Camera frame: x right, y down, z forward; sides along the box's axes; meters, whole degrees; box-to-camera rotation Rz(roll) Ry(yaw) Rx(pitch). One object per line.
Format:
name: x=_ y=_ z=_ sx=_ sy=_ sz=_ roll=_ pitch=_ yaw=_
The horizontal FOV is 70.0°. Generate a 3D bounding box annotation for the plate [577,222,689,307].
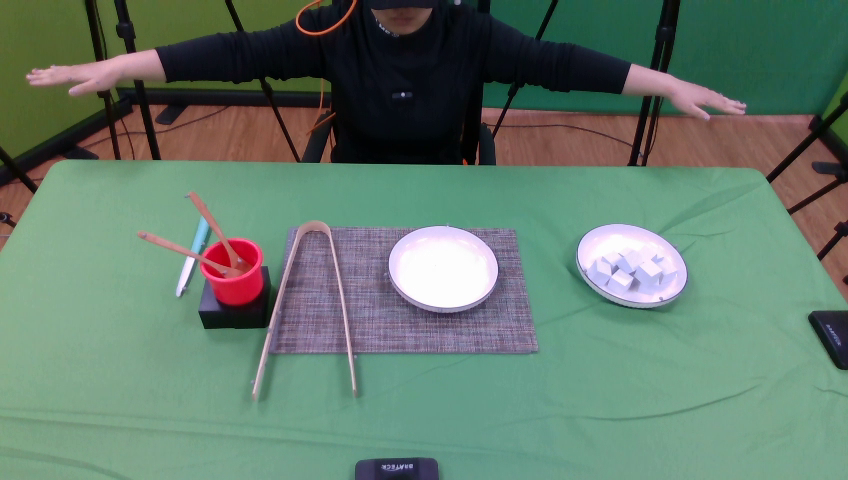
plate: x=0.396 y=0.050 z=1.165 sx=0.209 sy=0.038 sz=0.208 roll=2 pitch=47 yaw=-2

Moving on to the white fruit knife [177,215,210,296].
white fruit knife: x=-0.435 y=0.025 z=1.148 sx=0.027 sy=0.016 sz=0.206 roll=-18 pitch=45 yaw=19

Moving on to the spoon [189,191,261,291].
spoon: x=-0.333 y=0.001 z=1.011 sx=0.041 sy=0.194 sz=0.021 roll=-34 pitch=15 yaw=-25

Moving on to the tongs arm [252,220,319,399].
tongs arm: x=-0.236 y=0.105 z=1.067 sx=0.051 sy=0.026 sz=0.382 roll=1 pitch=46 yaw=0

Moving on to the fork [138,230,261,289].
fork: x=-0.360 y=0.032 z=0.981 sx=0.208 sy=0.018 sz=0.028 roll=31 pitch=60 yaw=-30

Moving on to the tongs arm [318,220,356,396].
tongs arm: x=-0.154 y=0.104 z=1.074 sx=0.028 sy=0.028 sz=0.385 roll=-11 pitch=47 yaw=-7

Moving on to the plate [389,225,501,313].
plate: x=0.038 y=0.057 z=1.128 sx=0.208 sy=0.039 sz=0.206 roll=2 pitch=46 yaw=-2
